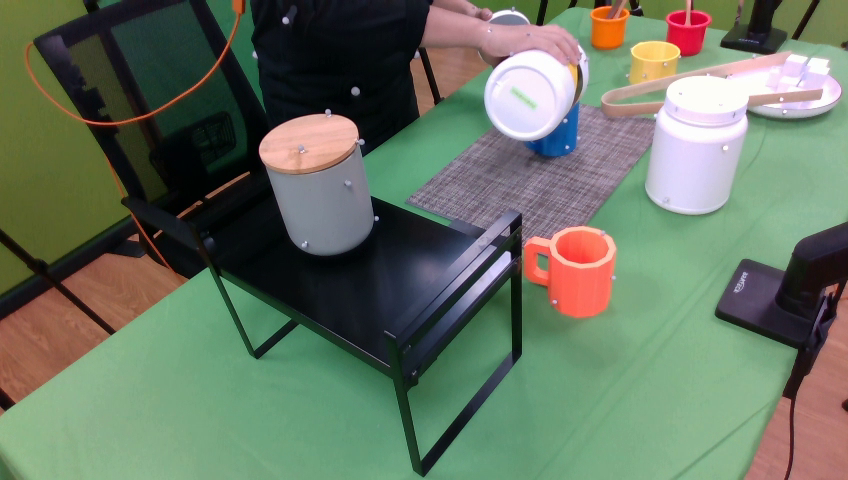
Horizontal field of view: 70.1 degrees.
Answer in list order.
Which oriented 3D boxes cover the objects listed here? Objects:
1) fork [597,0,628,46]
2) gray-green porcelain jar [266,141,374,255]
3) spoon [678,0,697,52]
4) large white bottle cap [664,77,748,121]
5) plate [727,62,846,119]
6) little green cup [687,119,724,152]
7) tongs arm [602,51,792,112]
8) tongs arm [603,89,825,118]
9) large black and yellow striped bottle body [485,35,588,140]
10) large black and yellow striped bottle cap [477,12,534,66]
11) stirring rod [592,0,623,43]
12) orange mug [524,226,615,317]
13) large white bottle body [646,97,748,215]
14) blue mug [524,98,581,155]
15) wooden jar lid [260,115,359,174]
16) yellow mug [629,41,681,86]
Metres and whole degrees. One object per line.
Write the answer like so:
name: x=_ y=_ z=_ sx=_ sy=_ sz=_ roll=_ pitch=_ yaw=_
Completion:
fork: x=0.479 y=-0.558 z=1.455 sx=0.028 sy=0.019 sz=0.207 roll=35 pitch=100 yaw=38
gray-green porcelain jar: x=-0.117 y=-0.054 z=0.703 sx=0.106 sy=0.127 sz=0.105 roll=-4 pitch=40 yaw=4
spoon: x=0.614 y=-0.526 z=1.402 sx=0.041 sy=0.022 sz=0.193 roll=3 pitch=86 yaw=11
large white bottle cap: x=0.421 y=-0.212 z=0.905 sx=0.115 sy=0.018 sz=0.114 roll=-4 pitch=40 yaw=4
plate: x=0.709 y=-0.292 z=1.197 sx=0.207 sy=0.039 sz=0.206 roll=-4 pitch=40 yaw=4
little green cup: x=0.514 y=-0.191 z=1.109 sx=0.061 sy=0.039 sz=0.061 roll=-5 pitch=40 yaw=5
tongs arm: x=0.552 y=-0.320 z=1.224 sx=0.384 sy=0.027 sz=0.050 roll=-10 pitch=43 yaw=7
tongs arm: x=0.546 y=-0.262 z=1.163 sx=0.386 sy=0.028 sz=0.028 roll=-1 pitch=49 yaw=18
large black and yellow striped bottle body: x=0.189 y=-0.254 z=0.978 sx=0.130 sy=0.131 sz=0.184 roll=13 pitch=35 yaw=23
large black and yellow striped bottle cap: x=0.165 y=-0.405 z=1.223 sx=0.115 sy=0.115 sz=0.018 roll=-8 pitch=50 yaw=-1
stirring rod: x=0.460 y=-0.557 z=1.461 sx=0.014 sy=0.176 sz=0.006 roll=35 pitch=11 yaw=22
orange mug: x=0.201 y=0.039 z=0.845 sx=0.125 sy=0.101 sz=0.083 roll=18 pitch=47 yaw=21
large white bottle body: x=0.431 y=-0.148 z=0.959 sx=0.130 sy=0.185 sz=0.130 roll=-4 pitch=41 yaw=4
blue mug: x=0.233 y=-0.219 z=1.127 sx=0.117 sy=0.106 sz=0.081 roll=-22 pitch=43 yaw=-16
wooden jar lid: x=-0.124 y=-0.101 z=0.662 sx=0.108 sy=0.021 sz=0.108 roll=-4 pitch=41 yaw=4
yellow mug: x=0.495 y=-0.389 z=1.321 sx=0.100 sy=0.064 sz=0.130 roll=-14 pitch=40 yaw=-6
